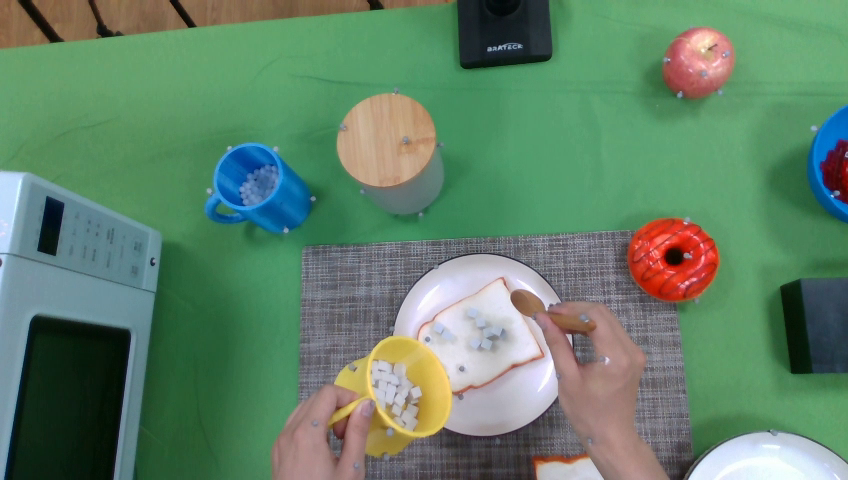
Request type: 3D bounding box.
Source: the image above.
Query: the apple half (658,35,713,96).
[{"bbox_3d":[0.303,-0.199,0.722,0.033,0.082,0.081,-35,75,-6],"label":"apple half"}]

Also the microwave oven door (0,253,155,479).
[{"bbox_3d":[-0.374,0.208,0.615,0.039,0.245,0.354,0,78,7],"label":"microwave oven door"}]

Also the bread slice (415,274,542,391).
[{"bbox_3d":[0.057,0.114,0.704,0.131,0.019,0.104,-28,76,-1],"label":"bread slice"}]

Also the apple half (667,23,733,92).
[{"bbox_3d":[0.334,-0.221,0.725,0.053,0.075,0.080,-34,72,-6],"label":"apple half"}]

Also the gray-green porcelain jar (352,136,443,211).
[{"bbox_3d":[-0.034,-0.095,0.717,0.106,0.127,0.105,-1,77,7],"label":"gray-green porcelain jar"}]

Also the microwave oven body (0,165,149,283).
[{"bbox_3d":[-0.517,0.166,0.647,0.326,0.261,0.439,0,79,7],"label":"microwave oven body"}]

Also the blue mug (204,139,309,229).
[{"bbox_3d":[-0.210,-0.057,0.740,0.116,0.106,0.082,-28,75,1],"label":"blue mug"}]

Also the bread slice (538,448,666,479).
[{"bbox_3d":[0.194,0.275,0.628,0.135,0.018,0.106,-6,73,-15],"label":"bread slice"}]

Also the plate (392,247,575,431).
[{"bbox_3d":[0.067,0.113,0.701,0.207,0.039,0.206,-2,78,7],"label":"plate"}]

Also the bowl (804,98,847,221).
[{"bbox_3d":[0.491,-0.079,0.672,0.151,0.077,0.150,-1,78,7],"label":"bowl"}]

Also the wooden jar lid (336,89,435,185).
[{"bbox_3d":[-0.042,-0.110,0.656,0.108,0.021,0.108,-2,76,7],"label":"wooden jar lid"}]

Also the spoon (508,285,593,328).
[{"bbox_3d":[0.115,0.066,0.568,0.021,0.193,0.042,-41,96,-3],"label":"spoon"}]

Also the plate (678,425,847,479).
[{"bbox_3d":[0.362,0.298,0.629,0.209,0.038,0.208,-1,78,7],"label":"plate"}]

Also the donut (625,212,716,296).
[{"bbox_3d":[0.280,0.016,0.692,0.099,0.048,0.098,-1,79,7],"label":"donut"}]

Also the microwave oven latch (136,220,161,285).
[{"bbox_3d":[-0.352,0.015,0.758,0.030,0.029,0.079,3,79,7],"label":"microwave oven latch"}]

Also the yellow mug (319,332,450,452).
[{"bbox_3d":[-0.043,0.150,0.579,0.064,0.131,0.099,-39,71,40],"label":"yellow mug"}]
